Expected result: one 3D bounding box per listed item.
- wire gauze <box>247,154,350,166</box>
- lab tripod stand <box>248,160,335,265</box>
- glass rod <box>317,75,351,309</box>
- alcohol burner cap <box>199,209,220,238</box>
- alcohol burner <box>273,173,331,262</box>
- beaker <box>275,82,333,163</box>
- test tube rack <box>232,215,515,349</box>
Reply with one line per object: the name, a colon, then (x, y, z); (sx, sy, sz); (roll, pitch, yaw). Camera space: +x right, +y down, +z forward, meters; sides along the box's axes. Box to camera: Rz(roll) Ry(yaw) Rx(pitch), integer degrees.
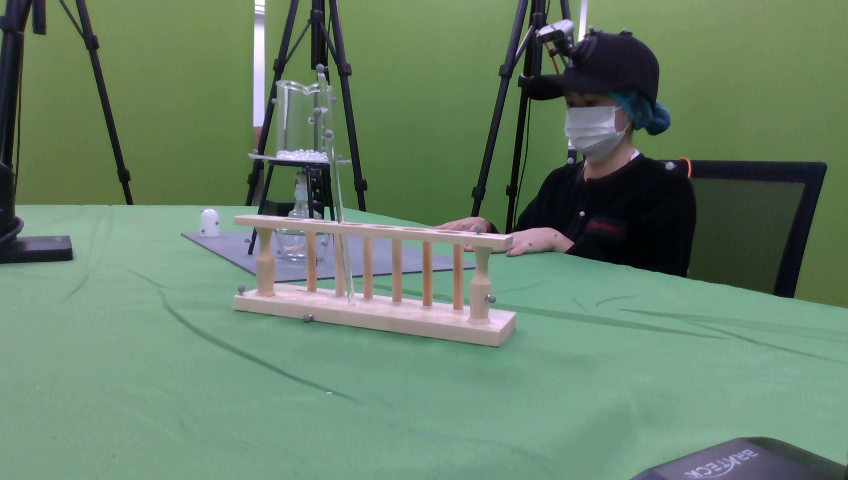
wire gauze: (-0.170, -0.105, 0.802); (0.122, 0.011, 0.124); (-1, 11, -20)
lab tripod stand: (-0.165, -0.040, 0.817); (0.148, 0.131, 0.148); (5, 8, 0)
glass rod: (-0.075, -0.036, 0.502); (0.008, 0.199, 0.008); (-5, 8, 1)
alcohol burner cap: (-0.356, -0.027, 1.002); (0.034, 0.048, 0.034); (2, 7, 0)
alcohol burner: (-0.164, -0.030, 0.812); (0.078, 0.119, 0.078); (2, 9, 0)
beaker: (-0.159, -0.152, 0.795); (0.074, 0.100, 0.083); (1, 8, -15)
test tube rack: (-0.045, 0.028, 0.525); (0.242, 0.085, 0.067); (5, 8, 19)
